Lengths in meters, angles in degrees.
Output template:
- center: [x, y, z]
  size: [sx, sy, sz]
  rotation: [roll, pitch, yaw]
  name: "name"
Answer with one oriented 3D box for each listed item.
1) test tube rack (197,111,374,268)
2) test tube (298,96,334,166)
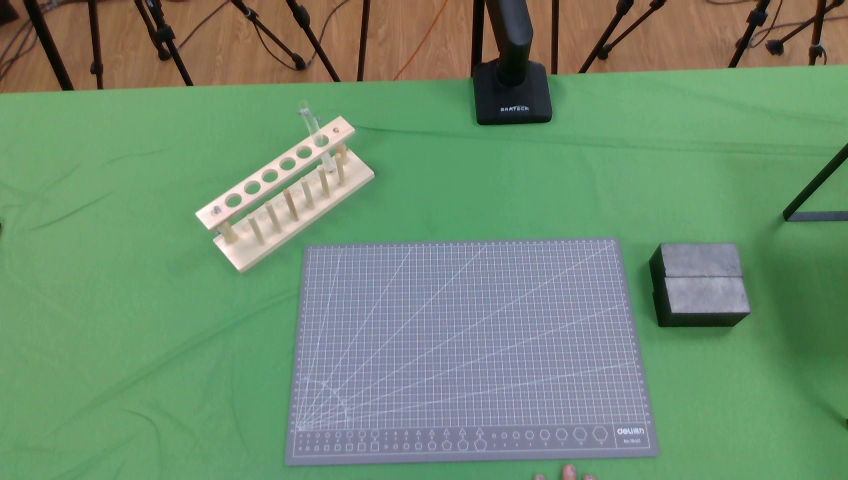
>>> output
- center: [-0.187, -0.072, 0.858]
  size: [0.242, 0.086, 0.066]
  rotation: [-39, 68, -18]
  name: "test tube rack"
- center: [-0.147, -0.147, 0.842]
  size: [0.017, 0.151, 0.017]
  rotation: [-2, 64, 4]
  name: "test tube"
